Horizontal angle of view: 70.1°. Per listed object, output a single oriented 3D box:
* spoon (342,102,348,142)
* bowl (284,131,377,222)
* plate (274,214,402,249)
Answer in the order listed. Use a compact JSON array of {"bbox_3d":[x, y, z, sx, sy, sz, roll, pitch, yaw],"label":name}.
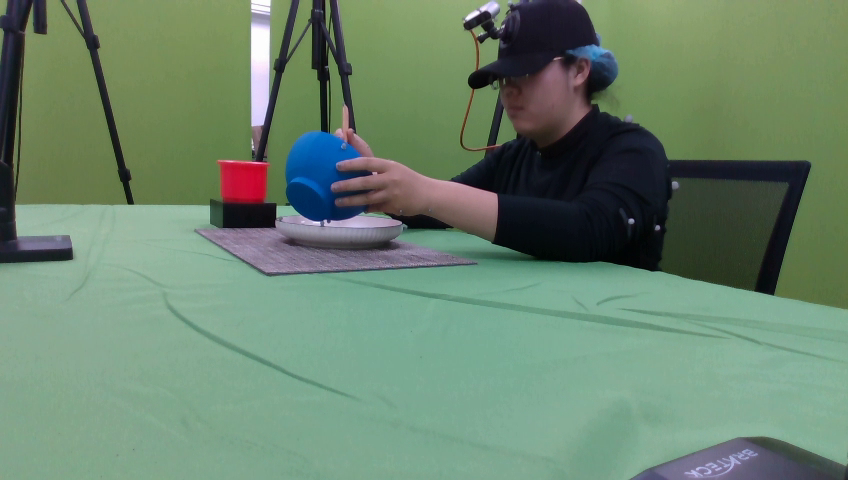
[{"bbox_3d":[-0.139,-0.161,1.030,0.021,0.193,0.042,-4,-32,11],"label":"spoon"},{"bbox_3d":[-0.155,-0.079,0.906,0.150,0.152,0.077,6,43,32],"label":"bowl"},{"bbox_3d":[-0.140,-0.015,0.993,0.208,0.039,0.207,3,7,0],"label":"plate"}]
